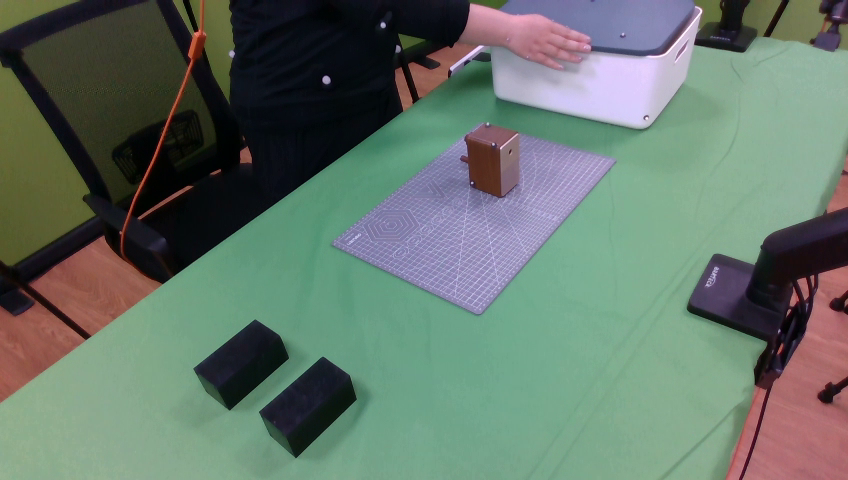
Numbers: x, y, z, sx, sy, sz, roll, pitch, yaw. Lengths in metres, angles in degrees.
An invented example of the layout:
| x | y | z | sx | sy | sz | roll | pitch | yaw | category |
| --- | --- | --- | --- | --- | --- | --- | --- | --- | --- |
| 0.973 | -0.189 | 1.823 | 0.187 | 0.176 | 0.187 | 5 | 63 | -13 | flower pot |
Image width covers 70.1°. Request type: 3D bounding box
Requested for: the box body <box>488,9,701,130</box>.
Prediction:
| x | y | z | sx | sy | sz | roll | pitch | yaw | category |
| --- | --- | --- | --- | --- | --- | --- | --- | --- | --- |
| 0.345 | -0.379 | 1.257 | 0.361 | 0.161 | 0.255 | 20 | 48 | 29 | box body |

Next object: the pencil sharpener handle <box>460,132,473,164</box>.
| x | y | z | sx | sy | sz | roll | pitch | yaw | category |
| --- | --- | --- | --- | --- | --- | --- | --- | --- | --- |
| 0.077 | -0.163 | 1.062 | 0.030 | 0.068 | 0.036 | 23 | 43 | 32 | pencil sharpener handle |

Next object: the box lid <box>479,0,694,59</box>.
| x | y | z | sx | sy | sz | roll | pitch | yaw | category |
| --- | --- | --- | --- | --- | --- | --- | --- | --- | --- |
| 0.323 | -0.441 | 1.211 | 0.369 | 0.015 | 0.264 | 19 | 48 | 29 | box lid |

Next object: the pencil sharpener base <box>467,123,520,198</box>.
| x | y | z | sx | sy | sz | roll | pitch | yaw | category |
| --- | --- | --- | --- | --- | --- | --- | --- | --- | --- |
| 0.119 | -0.138 | 1.044 | 0.076 | 0.107 | 0.061 | 23 | 49 | 32 | pencil sharpener base |
